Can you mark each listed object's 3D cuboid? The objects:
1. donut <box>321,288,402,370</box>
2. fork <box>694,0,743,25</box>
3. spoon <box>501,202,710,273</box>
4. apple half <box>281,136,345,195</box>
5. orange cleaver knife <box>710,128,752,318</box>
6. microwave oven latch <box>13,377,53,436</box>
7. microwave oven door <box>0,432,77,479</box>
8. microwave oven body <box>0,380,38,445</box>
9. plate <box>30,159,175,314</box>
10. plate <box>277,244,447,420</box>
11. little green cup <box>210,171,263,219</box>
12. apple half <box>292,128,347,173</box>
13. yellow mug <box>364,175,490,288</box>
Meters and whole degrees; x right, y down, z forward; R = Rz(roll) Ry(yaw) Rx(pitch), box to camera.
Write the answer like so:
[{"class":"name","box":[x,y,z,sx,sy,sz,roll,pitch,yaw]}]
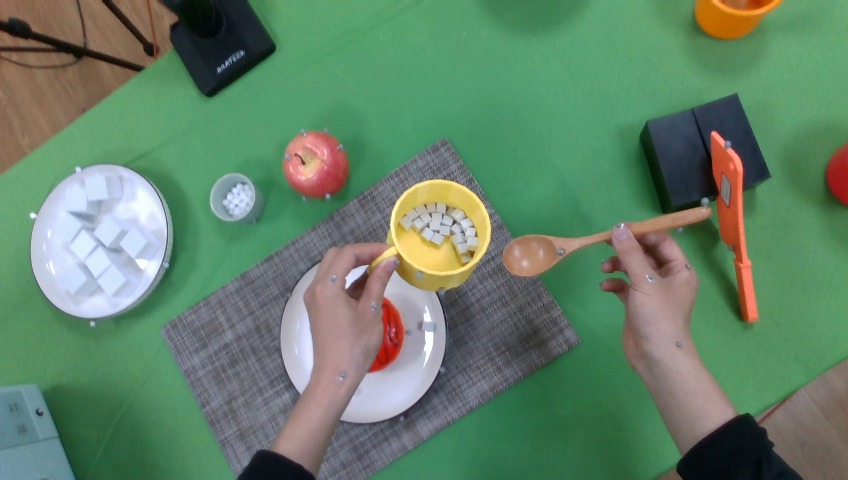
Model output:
[{"class":"donut","box":[-0.074,0.106,0.722,0.099,0.048,0.099,-1,85,11]},{"class":"fork","box":[0.385,-0.304,0.647,0.207,0.019,0.028,-36,70,49]},{"class":"spoon","box":[0.167,-0.005,0.571,0.193,0.022,0.041,-15,77,24]},{"class":"apple half","box":[-0.144,-0.085,0.757,0.080,0.075,0.053,37,95,9]},{"class":"orange cleaver knife","box":[0.330,-0.016,0.654,0.012,0.076,0.213,-14,113,10]},{"class":"microwave oven latch","box":[-0.513,0.217,0.785,0.030,0.029,0.079,-28,80,5]},{"class":"microwave oven door","box":[-0.428,0.392,0.644,0.039,0.245,0.354,-31,78,5]},{"class":"microwave oven body","box":[-0.573,0.430,0.670,0.326,0.261,0.439,-30,79,5]},{"class":"plate","box":[-0.426,-0.004,0.815,0.207,0.039,0.207,-1,83,10]},{"class":"plate","box":[-0.074,0.108,0.733,0.209,0.038,0.208,-1,83,10]},{"class":"little green cup","box":[-0.241,-0.055,0.788,0.061,0.039,0.061,-1,83,11]},{"class":"apple half","box":[-0.121,-0.116,0.755,0.081,0.081,0.033,37,94,13]},{"class":"yellow mug","box":[-0.002,0.000,0.611,0.131,0.064,0.099,-28,78,-14]}]
